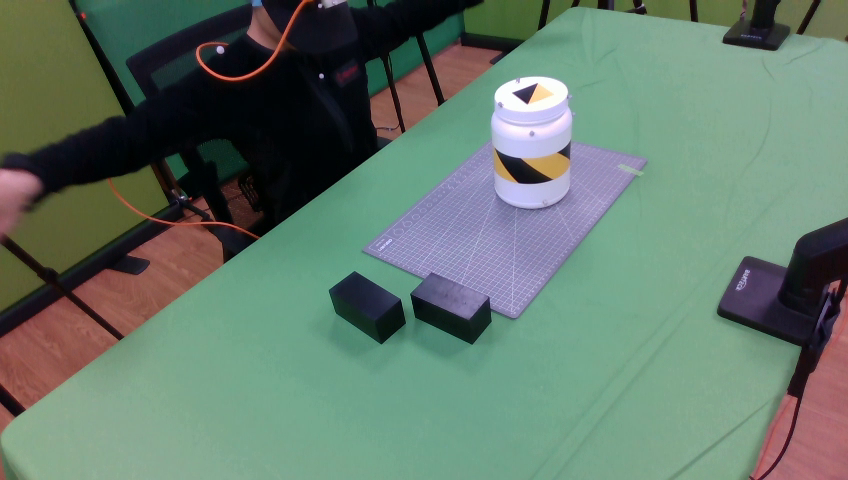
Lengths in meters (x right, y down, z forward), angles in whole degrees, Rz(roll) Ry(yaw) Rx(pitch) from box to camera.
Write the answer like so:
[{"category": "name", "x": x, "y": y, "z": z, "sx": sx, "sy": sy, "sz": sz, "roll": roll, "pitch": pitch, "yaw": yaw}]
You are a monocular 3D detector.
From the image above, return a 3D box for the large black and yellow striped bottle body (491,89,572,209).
[{"category": "large black and yellow striped bottle body", "x": 0.180, "y": -0.159, "z": 1.006, "sx": 0.131, "sy": 0.185, "sz": 0.130, "roll": -5, "pitch": 40, "yaw": 5}]

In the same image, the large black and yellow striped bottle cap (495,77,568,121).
[{"category": "large black and yellow striped bottle cap", "x": 0.169, "y": -0.224, "z": 0.954, "sx": 0.115, "sy": 0.019, "sz": 0.114, "roll": -4, "pitch": 41, "yaw": 4}]
